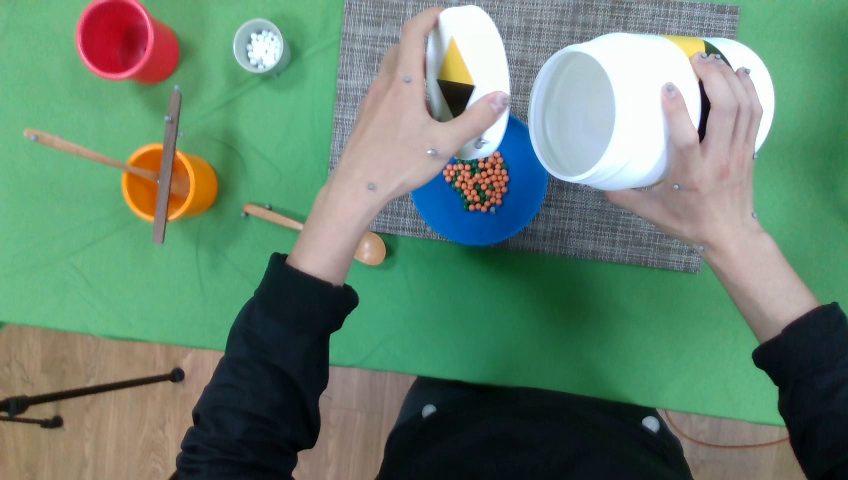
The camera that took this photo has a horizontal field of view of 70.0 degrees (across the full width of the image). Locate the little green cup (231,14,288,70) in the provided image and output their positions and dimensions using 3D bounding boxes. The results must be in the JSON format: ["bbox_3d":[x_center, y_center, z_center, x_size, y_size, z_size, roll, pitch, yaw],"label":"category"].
[{"bbox_3d":[-0.194,-0.232,0.723,0.061,0.038,0.061,1,95,8],"label":"little green cup"}]

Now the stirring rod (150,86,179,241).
[{"bbox_3d":[-0.295,-0.086,0.688,0.014,0.006,0.176,10,96,5],"label":"stirring rod"}]

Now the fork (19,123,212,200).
[{"bbox_3d":[-0.346,-0.089,0.697,0.209,0.018,0.028,21,101,-38],"label":"fork"}]

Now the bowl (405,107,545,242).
[{"bbox_3d":[0.058,-0.075,0.682,0.151,0.077,0.151,1,95,7],"label":"bowl"}]

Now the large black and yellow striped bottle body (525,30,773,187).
[{"bbox_3d":[0.195,-0.116,0.536,0.185,0.130,0.131,-9,94,-27],"label":"large black and yellow striped bottle body"}]

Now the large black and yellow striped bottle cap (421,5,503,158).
[{"bbox_3d":[0.026,-0.122,0.474,0.019,0.114,0.115,-13,93,-20],"label":"large black and yellow striped bottle cap"}]

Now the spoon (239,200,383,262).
[{"bbox_3d":[-0.140,-0.017,0.743,0.193,0.021,0.042,18,110,4],"label":"spoon"}]
